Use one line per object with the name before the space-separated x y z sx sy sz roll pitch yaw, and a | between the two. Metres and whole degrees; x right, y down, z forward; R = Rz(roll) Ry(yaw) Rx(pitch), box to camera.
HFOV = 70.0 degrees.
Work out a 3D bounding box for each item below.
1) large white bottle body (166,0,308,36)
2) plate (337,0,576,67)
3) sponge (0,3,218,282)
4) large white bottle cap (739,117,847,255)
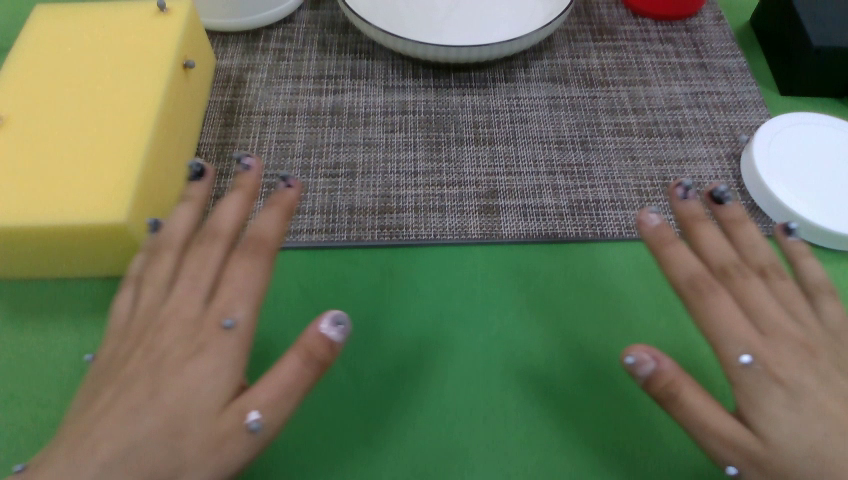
large white bottle body | -0.164 -0.274 0.473 0.130 0.186 0.129 0 54 1
plate | 0.027 -0.217 0.528 0.209 0.038 0.207 1 56 -1
sponge | -0.223 -0.074 0.415 0.118 0.061 0.205 -3 56 -1
large white bottle cap | 0.284 -0.041 0.428 0.115 0.018 0.113 2 56 -2
